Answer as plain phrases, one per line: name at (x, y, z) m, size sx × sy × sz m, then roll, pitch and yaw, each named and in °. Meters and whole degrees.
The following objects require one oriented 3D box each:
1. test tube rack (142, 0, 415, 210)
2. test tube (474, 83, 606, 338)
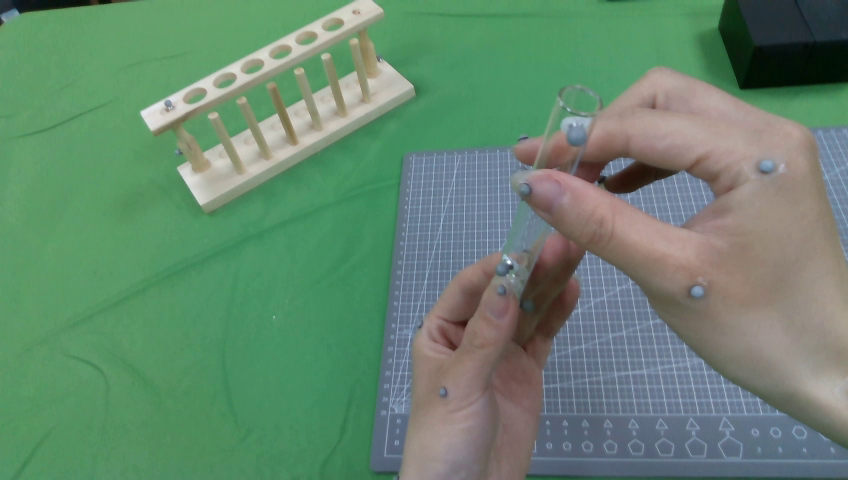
test tube rack at (-0.132, -0.136, 0.588) m, size 0.242 × 0.086 × 0.066 m, roll -33°, pitch 56°, yaw -14°
test tube at (0.042, 0.000, 0.254) m, size 0.017 × 0.151 × 0.017 m, roll 5°, pitch 51°, yaw -6°
